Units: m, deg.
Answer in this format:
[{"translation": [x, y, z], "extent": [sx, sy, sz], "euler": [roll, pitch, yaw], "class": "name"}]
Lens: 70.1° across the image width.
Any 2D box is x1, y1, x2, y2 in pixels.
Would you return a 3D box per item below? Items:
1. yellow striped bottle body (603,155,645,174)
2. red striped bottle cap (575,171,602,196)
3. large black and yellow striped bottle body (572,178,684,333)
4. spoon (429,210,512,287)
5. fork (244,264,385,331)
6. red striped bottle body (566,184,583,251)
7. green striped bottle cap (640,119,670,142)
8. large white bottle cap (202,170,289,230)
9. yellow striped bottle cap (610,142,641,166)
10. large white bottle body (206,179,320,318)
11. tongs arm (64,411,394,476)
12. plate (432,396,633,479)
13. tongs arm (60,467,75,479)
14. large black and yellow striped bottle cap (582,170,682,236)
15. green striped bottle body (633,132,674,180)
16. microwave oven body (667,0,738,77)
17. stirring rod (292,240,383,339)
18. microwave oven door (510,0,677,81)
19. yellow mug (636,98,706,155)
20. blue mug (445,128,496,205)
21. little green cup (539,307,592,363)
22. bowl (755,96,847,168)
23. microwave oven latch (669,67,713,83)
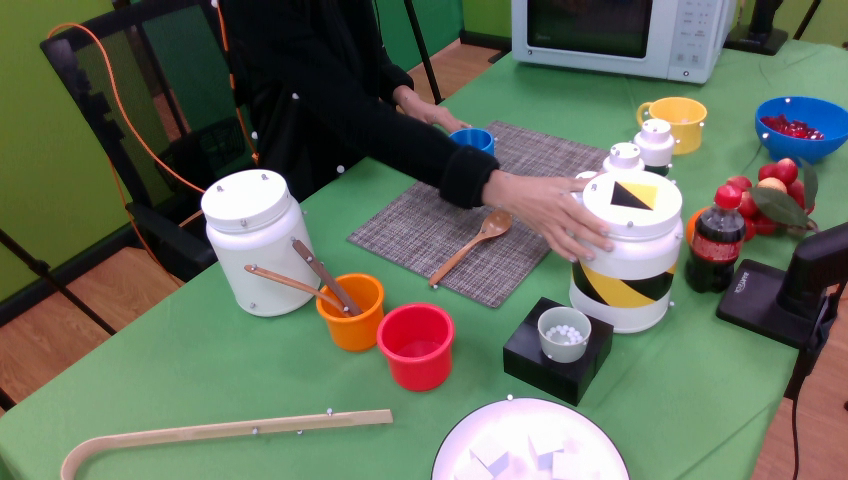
[{"translation": [0.314, -0.090, 0.957], "extent": [0.063, 0.121, 0.062], "euler": [-4, 40, 4], "class": "yellow striped bottle body"}, {"translation": [0.242, -0.081, 0.876], "extent": [0.044, 0.018, 0.044], "euler": [-5, 43, 5], "class": "red striped bottle cap"}, {"translation": [0.262, 0.017, 0.788], "extent": [0.131, 0.185, 0.130], "euler": [-5, 40, 4], "class": "large black and yellow striped bottle body"}, {"translation": [0.072, 0.012, 0.945], "extent": [0.041, 0.021, 0.194], "euler": [41, 57, 17], "class": "spoon"}, {"translation": [-0.142, 0.078, 0.806], "extent": [0.209, 0.018, 0.028], "euler": [30, 34, -24], "class": "fork"}, {"translation": [0.247, -0.041, 0.910], "extent": [0.063, 0.120, 0.062], "euler": [-4, 40, 4], "class": "red striped bottle body"}, {"translation": [0.370, -0.174, 0.968], "extent": [0.044, 0.020, 0.044], "euler": [-3, 41, 3], "class": "green striped bottle cap"}, {"translation": [-0.242, -0.056, 0.822], "extent": [0.115, 0.018, 0.114], "euler": [-4, 40, 4], "class": "large white bottle cap"}, {"translation": [0.308, -0.131, 0.925], "extent": [0.044, 0.019, 0.044], "euler": [-4, 46, 5], "class": "yellow striped bottle cap"}, {"translation": [-0.233, 0.008, 0.876], "extent": [0.130, 0.185, 0.130], "euler": [-4, 41, 4], "class": "large white bottle body"}, {"translation": [-0.228, 0.241, 0.715], "extent": [0.385, 0.026, 0.050], "euler": [-5, 44, 4], "class": "tongs arm"}, {"translation": [0.112, 0.261, 0.634], "extent": [0.209, 0.038, 0.208], "euler": [-5, 40, 4], "class": "plate"}, {"translation": [-0.239, 0.301, 0.649], "extent": [0.386, 0.028, 0.028], "euler": [6, 49, 16], "class": "tongs arm"}, {"translation": [0.252, -0.048, 0.735], "extent": [0.115, 0.019, 0.114], "euler": [-3, 40, 3], "class": "large black and yellow striped bottle cap"}, {"translation": [0.376, -0.135, 1.001], "extent": [0.063, 0.120, 0.063], "euler": [-5, 40, 5], "class": "green striped bottle body"}, {"translation": [0.462, -0.552, 1.369], "extent": [0.439, 0.261, 0.326], "euler": [15, 45, 26], "class": "microwave oven body"}, {"translation": [-0.118, 0.068, 0.825], "extent": [0.176, 0.006, 0.014], "euler": [48, 59, -3], "class": "stirring rod"}, {"translation": [0.354, -0.478, 1.290], "extent": [0.353, 0.245, 0.039], "euler": [15, 45, 25], "class": "microwave oven door"}, {"translation": [0.453, -0.217, 1.128], "extent": [0.100, 0.064, 0.129], "euler": [-34, 46, -27], "class": "yellow mug"}, {"translation": [0.082, -0.137, 1.056], "extent": [0.082, 0.106, 0.116], "euler": [-4, 39, 4], "class": "blue mug"}, {"translation": [0.168, 0.114, 0.721], "extent": [0.061, 0.039, 0.061], "euler": [-4, 43, 4], "class": "little green cup"}, {"translation": [0.645, -0.177, 1.041], "extent": [0.151, 0.077, 0.150], "euler": [-5, 40, 4], "class": "bowl"}, {"translation": [0.556, -0.348, 1.261], "extent": [0.078, 0.029, 0.030], "euler": [16, 46, 27], "class": "microwave oven latch"}]
